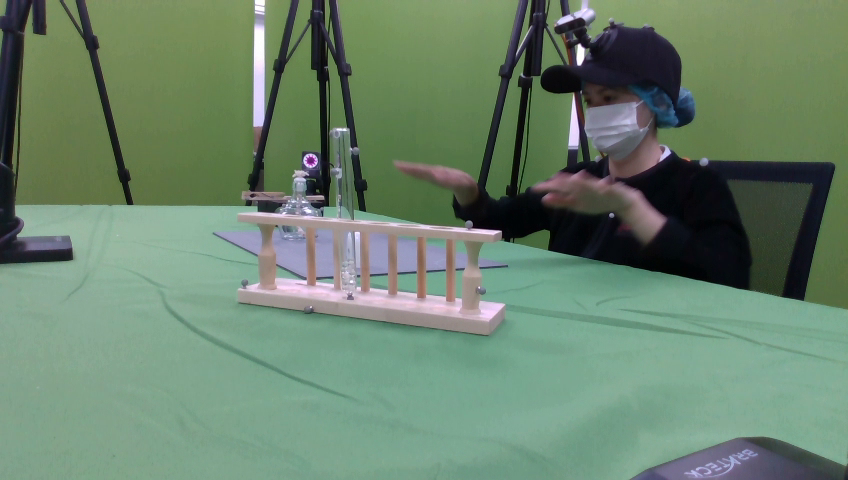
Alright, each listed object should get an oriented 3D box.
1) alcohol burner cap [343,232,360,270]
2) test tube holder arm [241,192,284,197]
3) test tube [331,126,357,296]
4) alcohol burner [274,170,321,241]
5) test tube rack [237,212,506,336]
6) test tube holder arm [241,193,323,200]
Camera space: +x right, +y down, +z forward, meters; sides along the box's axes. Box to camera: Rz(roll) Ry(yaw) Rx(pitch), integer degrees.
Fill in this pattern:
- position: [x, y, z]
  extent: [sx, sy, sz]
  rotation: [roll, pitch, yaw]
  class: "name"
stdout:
- position: [-0.087, 0.013, 0.777]
  extent: [0.034, 0.048, 0.034]
  rotation: [3, 7, 0]
  class: "alcohol burner cap"
- position: [-0.325, -0.093, 1.224]
  extent: [0.088, 0.010, 0.015]
  rotation: [-4, 9, -39]
  class: "test tube holder arm"
- position: [-0.070, -0.025, 0.534]
  extent: [0.017, 0.150, 0.017]
  rotation: [-2, 8, 1]
  class: "test tube"
- position: [-0.212, -0.058, 1.015]
  extent: [0.078, 0.119, 0.078]
  rotation: [4, 5, 0]
  class: "alcohol burner"
- position: [-0.049, 0.024, 0.552]
  extent: [0.242, 0.085, 0.067]
  rotation: [5, 8, 19]
  class: "test tube rack"
- position: [-0.290, -0.090, 1.253]
  extent: [0.179, 0.013, 0.015]
  rotation: [-4, 9, -39]
  class: "test tube holder arm"
